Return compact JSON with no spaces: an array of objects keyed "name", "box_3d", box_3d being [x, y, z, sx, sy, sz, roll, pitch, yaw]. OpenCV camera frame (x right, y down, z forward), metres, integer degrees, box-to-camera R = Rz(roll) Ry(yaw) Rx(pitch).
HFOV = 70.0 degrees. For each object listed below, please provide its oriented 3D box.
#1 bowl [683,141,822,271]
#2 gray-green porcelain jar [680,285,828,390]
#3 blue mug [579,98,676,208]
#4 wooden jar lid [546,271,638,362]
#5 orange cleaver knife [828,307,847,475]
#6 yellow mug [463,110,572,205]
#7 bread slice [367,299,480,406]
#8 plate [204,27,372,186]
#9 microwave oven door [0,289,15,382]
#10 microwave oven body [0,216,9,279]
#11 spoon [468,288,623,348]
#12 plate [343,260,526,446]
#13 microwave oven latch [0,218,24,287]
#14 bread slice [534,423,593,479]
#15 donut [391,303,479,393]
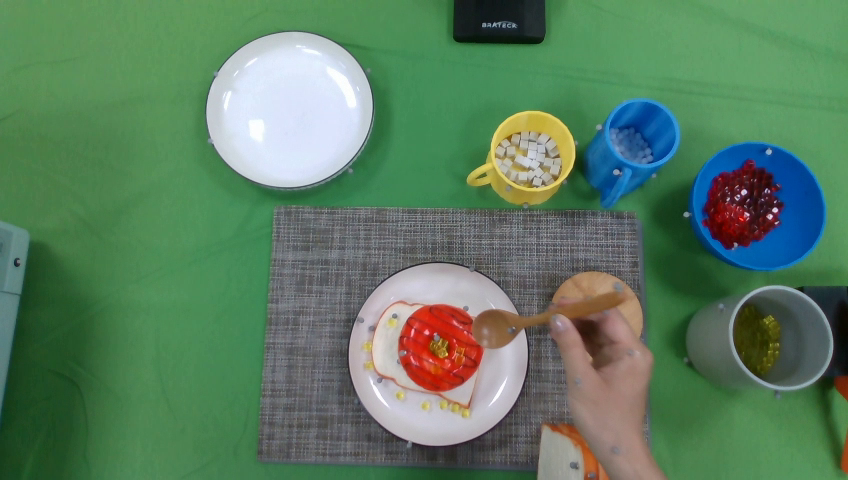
[{"name":"bowl","box_3d":[0.372,-0.032,0.717,0.151,0.077,0.150,0,79,0]},{"name":"gray-green porcelain jar","box_3d":[0.351,0.109,0.664,0.106,0.127,0.105,0,78,0]},{"name":"blue mug","box_3d":[0.231,-0.093,0.714,0.082,0.106,0.116,21,80,4]},{"name":"wooden jar lid","box_3d":[0.197,0.091,0.717,0.108,0.021,0.108,0,80,0]},{"name":"orange cleaver knife","box_3d":[0.478,0.160,0.677,0.012,0.077,0.212,-1,108,1]},{"name":"yellow mug","box_3d":[0.109,-0.093,0.733,0.131,0.064,0.099,-20,79,-3]},{"name":"bread slice","box_3d":[-0.001,0.126,0.704,0.131,0.019,0.104,15,78,-1]},{"name":"plate","box_3d":[-0.167,-0.164,0.760,0.208,0.039,0.206,0,79,0]},{"name":"microwave oven door","box_3d":[-0.503,0.208,0.563,0.039,0.244,0.354,2,78,1]},{"name":"microwave oven body","box_3d":[-0.647,0.162,0.577,0.326,0.261,0.440,2,79,0]},{"name":"spoon","box_3d":[0.101,0.070,0.548,0.022,0.193,0.041,-16,84,-33]},{"name":"plate","box_3d":[0.013,0.128,0.700,0.209,0.038,0.208,0,79,0]},{"name":"microwave oven latch","box_3d":[-0.491,0.014,0.704,0.030,0.029,0.079,5,79,1]},{"name":"bread slice","box_3d":[0.142,0.251,0.632,0.018,0.134,0.106,10,76,-5]},{"name":"donut","box_3d":[0.012,0.119,0.674,0.099,0.048,0.098,1,80,-4]}]
